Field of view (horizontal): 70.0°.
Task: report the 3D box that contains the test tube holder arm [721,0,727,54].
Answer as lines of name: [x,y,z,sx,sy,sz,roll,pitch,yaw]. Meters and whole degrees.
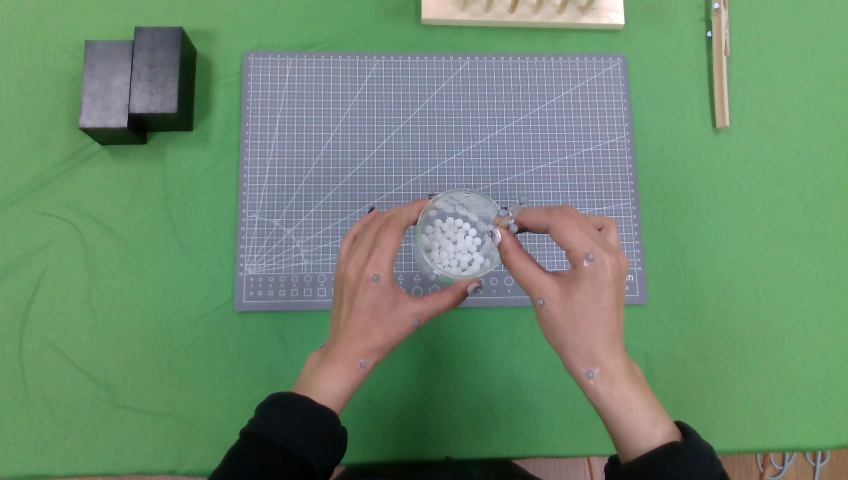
test tube holder arm: [0.359,-0.266,0.736,0.010,0.015,0.087,12,77,-31]

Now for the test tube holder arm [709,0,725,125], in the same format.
test tube holder arm: [0.350,-0.223,0.724,0.013,0.015,0.177,11,78,-31]

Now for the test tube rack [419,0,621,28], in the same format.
test tube rack: [0.117,-0.299,0.695,0.242,0.085,0.066,1,79,-3]

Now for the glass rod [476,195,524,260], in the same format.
glass rod: [0.054,-0.005,0.469,0.008,0.200,0.008,1,78,-2]

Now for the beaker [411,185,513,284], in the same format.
beaker: [0.028,0.001,0.526,0.084,0.100,0.074,16,81,-3]
